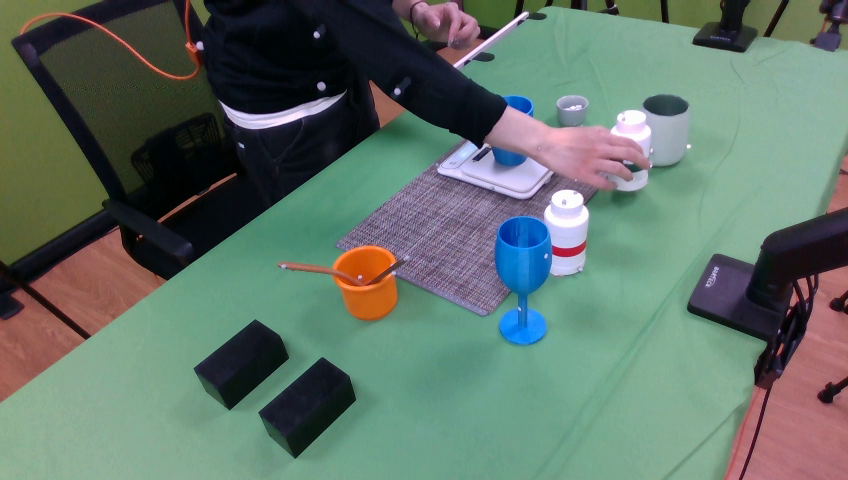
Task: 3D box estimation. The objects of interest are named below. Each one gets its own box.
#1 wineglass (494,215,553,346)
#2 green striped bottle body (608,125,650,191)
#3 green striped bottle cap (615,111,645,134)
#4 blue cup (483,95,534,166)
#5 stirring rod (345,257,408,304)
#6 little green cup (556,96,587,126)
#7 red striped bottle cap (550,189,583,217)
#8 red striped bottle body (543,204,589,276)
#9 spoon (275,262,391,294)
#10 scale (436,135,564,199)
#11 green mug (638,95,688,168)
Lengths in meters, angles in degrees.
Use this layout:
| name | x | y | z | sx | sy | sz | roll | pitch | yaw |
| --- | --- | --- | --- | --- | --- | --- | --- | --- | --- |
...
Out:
| name | x | y | z | sx | sy | sz | roll | pitch | yaw |
| --- | --- | --- | --- | --- | --- | --- | --- | --- | --- |
| wineglass | 0.126 | 0.054 | 0.770 | 0.074 | 0.173 | 0.073 | -4 | 40 | 4 |
| green striped bottle body | 0.332 | -0.144 | 0.981 | 0.063 | 0.120 | 0.063 | -7 | 37 | 5 |
| green striped bottle cap | 0.325 | -0.185 | 0.951 | 0.044 | 0.020 | 0.044 | -4 | 40 | 4 |
| blue cup | 0.150 | -0.187 | 1.051 | 0.092 | 0.101 | 0.092 | -7 | 41 | 6 |
| stirring rod | -0.067 | 0.057 | 0.814 | 0.014 | 0.175 | 0.006 | -24 | 82 | -38 |
| little green cup | 0.295 | -0.258 | 1.214 | 0.061 | 0.039 | 0.061 | -4 | 42 | 4 |
| red striped bottle cap | 0.199 | -0.052 | 0.843 | 0.044 | 0.018 | 0.044 | -1 | 42 | 2 |
| red striped bottle body | 0.205 | -0.011 | 0.877 | 0.063 | 0.120 | 0.062 | -4 | 40 | 4 |
| spoon | -0.120 | 0.050 | 0.830 | 0.041 | 0.195 | 0.021 | 31 | 97 | 45 |
| scale | 0.137 | -0.141 | 1.101 | 0.199 | 0.032 | 0.149 | 22 | 48 | 30 |
| green mug | 0.421 | -0.201 | 1.081 | 0.092 | 0.105 | 0.125 | 5 | 42 | 15 |
